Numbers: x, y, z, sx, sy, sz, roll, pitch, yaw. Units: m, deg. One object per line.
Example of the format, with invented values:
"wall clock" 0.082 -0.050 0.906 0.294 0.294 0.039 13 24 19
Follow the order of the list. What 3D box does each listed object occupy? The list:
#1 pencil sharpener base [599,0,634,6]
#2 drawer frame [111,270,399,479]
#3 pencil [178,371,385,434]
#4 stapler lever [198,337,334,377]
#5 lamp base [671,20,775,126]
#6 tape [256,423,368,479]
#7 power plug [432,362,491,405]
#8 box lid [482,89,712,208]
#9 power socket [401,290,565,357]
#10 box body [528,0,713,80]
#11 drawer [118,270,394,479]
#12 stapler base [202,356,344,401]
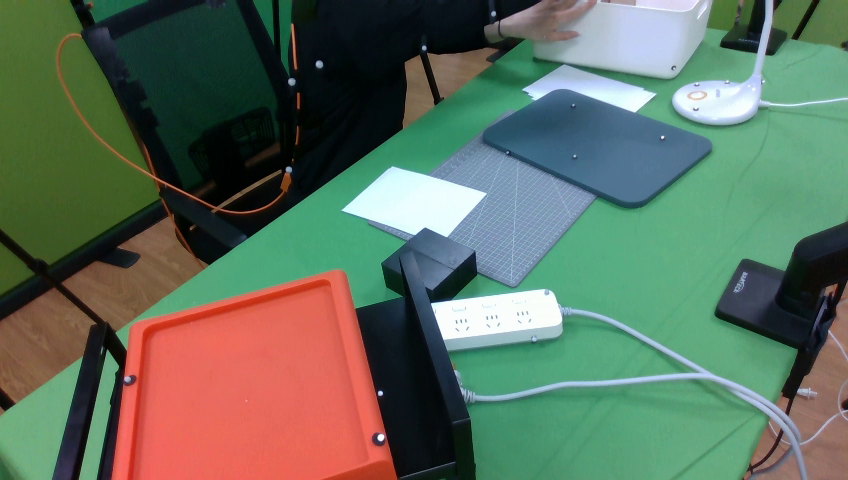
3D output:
"pencil sharpener base" 0.435 -0.552 1.370 0.061 0.107 0.076 -9 34 2
"drawer frame" -0.140 0.140 0.506 0.202 0.083 0.212 -15 41 -9
"pencil" -0.128 0.141 0.534 0.194 0.012 0.012 14 44 7
"stapler lever" -0.142 0.105 0.541 0.118 0.040 0.026 -3 43 4
"lamp base" 0.582 -0.332 1.153 0.179 0.181 0.160 2 41 7
"tape" -0.121 0.262 0.659 0.117 0.053 0.116 -4 40 4
"power plug" 0.044 0.182 0.759 0.073 0.035 0.052 24 41 -19
"box lid" 0.320 -0.190 1.156 0.264 0.015 0.368 -33 47 -28
"power socket" 0.080 0.113 0.821 0.227 0.033 0.072 -6 41 0
"box body" 0.451 -0.513 1.398 0.361 0.161 0.254 19 48 28
"drawer" -0.141 0.139 0.509 0.195 0.073 0.210 -14 42 -8
"stapler base" -0.142 0.124 0.557 0.130 0.024 0.041 -2 43 3
